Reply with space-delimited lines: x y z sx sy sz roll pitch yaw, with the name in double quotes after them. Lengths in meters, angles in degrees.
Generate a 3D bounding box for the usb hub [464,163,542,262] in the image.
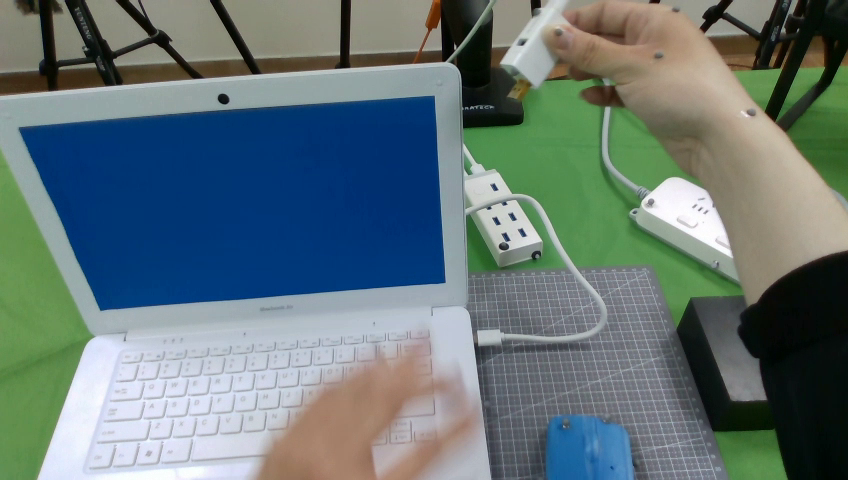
0.078 -0.032 0.652 0.049 0.025 0.123 -16 48 -10 "usb hub"

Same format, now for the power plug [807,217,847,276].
0.387 0.009 0.561 0.072 0.053 0.035 -29 51 -19 "power plug"

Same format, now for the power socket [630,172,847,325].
0.317 0.002 0.602 0.072 0.033 0.224 -35 54 -27 "power socket"

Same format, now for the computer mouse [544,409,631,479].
0.119 0.175 0.446 0.062 0.041 0.116 6 43 11 "computer mouse"

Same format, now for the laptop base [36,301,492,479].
-0.127 0.160 0.491 0.354 0.023 0.233 -5 51 0 "laptop base"

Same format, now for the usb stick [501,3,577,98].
0.071 -0.122 0.396 0.059 0.027 0.021 -58 29 7 "usb stick"

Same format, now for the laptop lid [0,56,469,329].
-0.141 -0.025 0.503 0.357 0.244 0.013 -6 34 0 "laptop lid"
